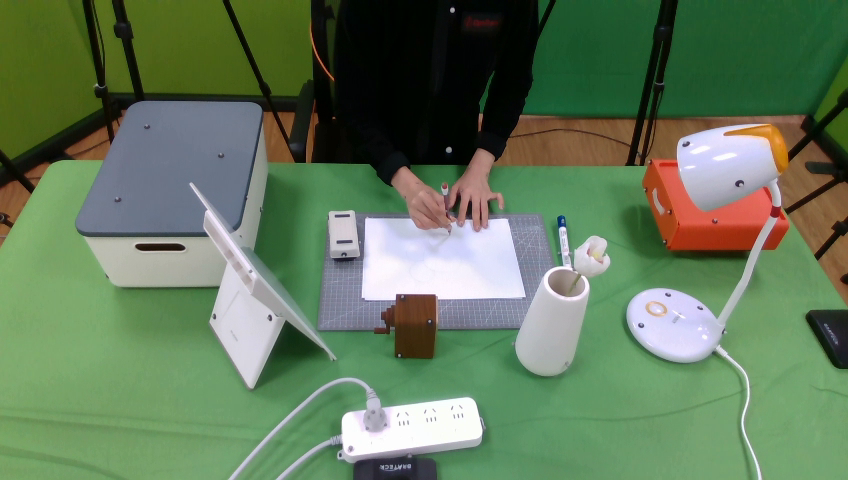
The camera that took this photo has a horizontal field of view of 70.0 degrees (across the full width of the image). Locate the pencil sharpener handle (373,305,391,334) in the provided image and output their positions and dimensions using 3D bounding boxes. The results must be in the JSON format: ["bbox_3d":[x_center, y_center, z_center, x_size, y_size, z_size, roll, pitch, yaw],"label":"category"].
[{"bbox_3d":[-0.069,0.133,0.989,0.030,0.068,0.036,1,47,-2],"label":"pencil sharpener handle"}]

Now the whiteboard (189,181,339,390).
[{"bbox_3d":[-0.292,0.096,0.929,0.144,0.307,0.216,-37,57,-10],"label":"whiteboard"}]

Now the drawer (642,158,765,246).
[{"bbox_3d":[0.565,-0.076,1.211,0.212,0.073,0.193,2,45,-2],"label":"drawer"}]

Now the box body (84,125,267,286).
[{"bbox_3d":[-0.446,-0.088,1.150,0.254,0.161,0.361,-1,46,-5],"label":"box body"}]

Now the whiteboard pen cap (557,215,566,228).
[{"bbox_3d":[0.284,-0.035,1.246,0.018,0.018,0.033,4,52,-1],"label":"whiteboard pen cap"}]

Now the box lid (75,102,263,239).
[{"bbox_3d":[-0.443,-0.138,1.094,0.263,0.015,0.369,-1,47,-5],"label":"box lid"}]

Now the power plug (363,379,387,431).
[{"bbox_3d":[-0.072,0.252,0.910,0.035,0.053,0.072,3,45,-1],"label":"power plug"}]

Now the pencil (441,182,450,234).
[{"bbox_3d":[0.043,-0.054,1.133,0.012,0.195,0.012,-2,63,4],"label":"pencil"}]

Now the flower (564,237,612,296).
[{"bbox_3d":[0.206,0.088,0.893,0.038,0.363,0.044,-17,67,-9],"label":"flower"}]

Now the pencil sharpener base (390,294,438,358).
[{"bbox_3d":[-0.018,0.143,1.000,0.077,0.107,0.061,1,46,-2],"label":"pencil sharpener base"}]

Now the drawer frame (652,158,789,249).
[{"bbox_3d":[0.571,-0.075,1.214,0.214,0.083,0.200,0,45,-1],"label":"drawer frame"}]

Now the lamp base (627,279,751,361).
[{"bbox_3d":[0.459,0.100,1.027,0.178,0.181,0.160,27,51,17],"label":"lamp base"}]

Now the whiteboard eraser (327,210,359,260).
[{"bbox_3d":[-0.158,-0.009,1.177,0.055,0.042,0.112,-6,47,-7],"label":"whiteboard eraser"}]

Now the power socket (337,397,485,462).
[{"bbox_3d":[-0.018,0.285,0.915,0.227,0.033,0.071,-5,46,-8],"label":"power socket"}]

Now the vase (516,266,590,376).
[{"bbox_3d":[0.208,0.132,0.965,0.098,0.201,0.097,3,46,-3],"label":"vase"}]

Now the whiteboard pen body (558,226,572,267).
[{"bbox_3d":[0.280,0.010,1.208,0.017,0.017,0.140,3,50,-1],"label":"whiteboard pen body"}]

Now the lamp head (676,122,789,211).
[{"bbox_3d":[0.423,-0.104,0.819,0.122,0.113,0.112,-13,33,40],"label":"lamp head"}]
